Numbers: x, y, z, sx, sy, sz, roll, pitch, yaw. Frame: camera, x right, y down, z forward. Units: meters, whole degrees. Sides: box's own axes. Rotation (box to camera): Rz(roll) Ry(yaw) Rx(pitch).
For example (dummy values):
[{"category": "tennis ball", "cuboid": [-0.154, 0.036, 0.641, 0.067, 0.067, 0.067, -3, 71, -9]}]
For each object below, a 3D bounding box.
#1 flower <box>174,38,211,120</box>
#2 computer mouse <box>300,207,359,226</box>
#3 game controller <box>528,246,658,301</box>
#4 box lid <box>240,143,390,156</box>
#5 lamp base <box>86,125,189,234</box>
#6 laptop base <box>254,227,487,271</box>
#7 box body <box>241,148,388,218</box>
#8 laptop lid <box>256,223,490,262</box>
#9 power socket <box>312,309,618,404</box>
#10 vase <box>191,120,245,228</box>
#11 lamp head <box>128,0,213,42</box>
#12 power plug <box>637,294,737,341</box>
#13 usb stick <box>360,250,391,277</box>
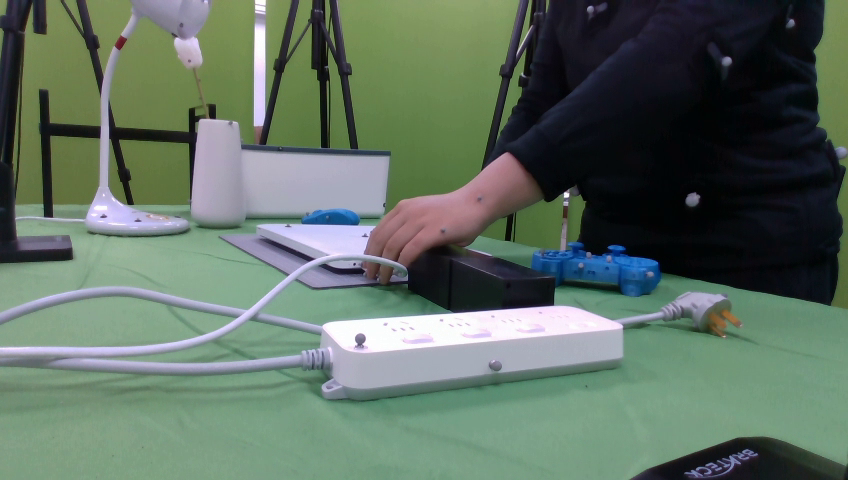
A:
[{"category": "flower", "cuboid": [-0.401, -0.207, 1.141, 0.038, 0.361, 0.044, -14, 3, 44]}, {"category": "computer mouse", "cuboid": [-0.194, -0.046, 1.241, 0.117, 0.041, 0.063, 0, 10, 11]}, {"category": "game controller", "cuboid": [0.202, 0.037, 0.732, 0.155, 0.051, 0.097, 5, 10, 19]}, {"category": "box lid", "cuboid": [-0.295, -0.217, 1.463, 0.373, 0.015, 0.262, -1, 8, -29]}, {"category": "lamp base", "cuboid": [-0.497, -0.105, 1.027, 0.179, 0.180, 0.160, 1, 7, 2]}, {"category": "laptop base", "cuboid": [-0.096, 0.011, 0.912, 0.237, 0.023, 0.352, 2, 6, -32]}, {"category": "box body", "cuboid": [-0.297, -0.143, 1.474, 0.366, 0.160, 0.253, -1, 9, -30]}, {"category": "laptop lid", "cuboid": [-0.093, 0.000, 0.911, 0.243, 0.013, 0.355, 1, 7, -30]}, {"category": "power socket", "cuboid": [0.034, 0.074, 0.416, 0.228, 0.032, 0.072, -1, 8, -25]}, {"category": "vase", "cuboid": [-0.389, -0.124, 1.142, 0.098, 0.200, 0.098, 3, 9, 0]}, {"category": "lamp head", "cuboid": [-0.423, -0.394, 0.980, 0.123, 0.112, 0.112, 20, 7, -3]}, {"category": "power plug", "cuboid": [0.235, 0.077, 0.537, 0.072, 0.035, 0.052, -33, 40, -1]}, {"category": "usb stick", "cuboid": [-0.060, 0.027, 0.708, 0.021, 0.027, 0.059, -3, 5, -30]}]
